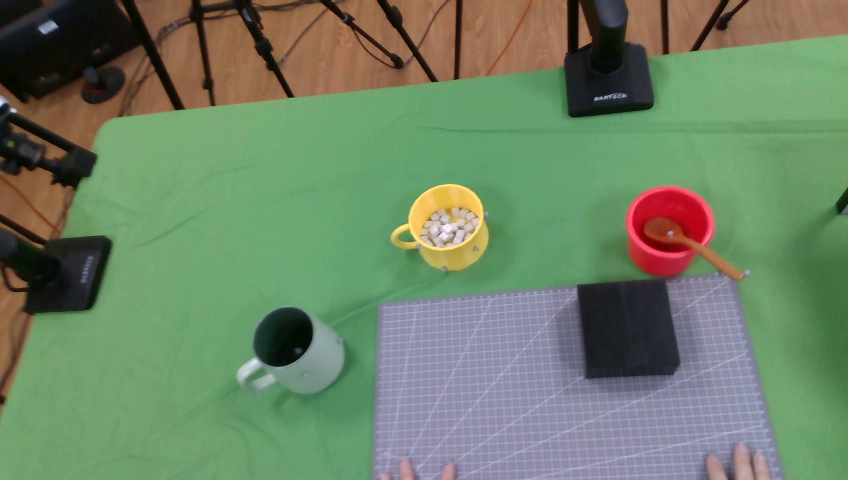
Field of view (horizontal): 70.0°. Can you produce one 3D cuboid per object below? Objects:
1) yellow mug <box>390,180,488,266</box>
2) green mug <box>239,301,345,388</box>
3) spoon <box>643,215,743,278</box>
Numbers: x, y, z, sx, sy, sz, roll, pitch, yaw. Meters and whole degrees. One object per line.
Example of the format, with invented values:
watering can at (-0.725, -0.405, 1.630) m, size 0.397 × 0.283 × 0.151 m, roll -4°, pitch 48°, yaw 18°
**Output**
yellow mug at (0.018, -0.018, 0.814) m, size 0.131 × 0.064 × 0.099 m, roll -13°, pitch 61°, yaw 6°
green mug at (-0.168, 0.140, 0.752) m, size 0.125 × 0.106 × 0.091 m, roll -34°, pitch 62°, yaw -6°
spoon at (0.305, 0.004, 0.697) m, size 0.041 × 0.192 × 0.022 m, roll -15°, pitch 106°, yaw 0°
